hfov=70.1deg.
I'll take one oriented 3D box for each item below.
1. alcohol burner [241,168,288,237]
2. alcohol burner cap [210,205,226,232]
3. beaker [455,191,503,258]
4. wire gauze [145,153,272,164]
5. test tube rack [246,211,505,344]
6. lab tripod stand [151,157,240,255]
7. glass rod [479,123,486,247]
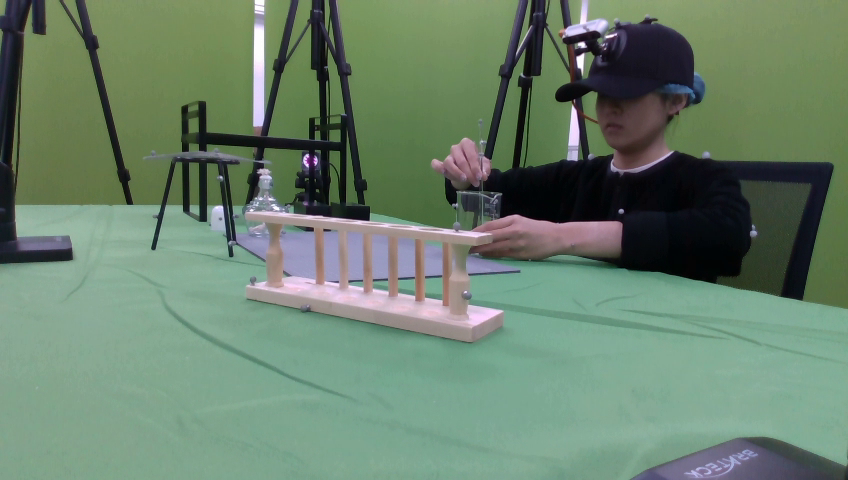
[{"bbox_3d":[-0.272,-0.064,1.036,0.078,0.119,0.078,4,5,0],"label":"alcohol burner"},{"bbox_3d":[-0.376,-0.040,1.107,0.034,0.048,0.034,2,7,0],"label":"alcohol burner cap"},{"bbox_3d":[0.087,-0.025,0.955,0.074,0.100,0.083,-1,9,-25],"label":"beaker"},{"bbox_3d":[-0.303,-0.117,0.854,0.121,0.011,0.126,7,7,34],"label":"wire gauze"},{"bbox_3d":[-0.049,0.025,0.547,0.241,0.085,0.067,7,8,29],"label":"test tube rack"},{"bbox_3d":[-0.310,-0.052,0.866,0.148,0.131,0.148,2,6,0],"label":"lab tripod stand"},{"bbox_3d":[0.094,-0.085,0.962,0.008,0.199,0.008,-3,14,1],"label":"glass rod"}]
